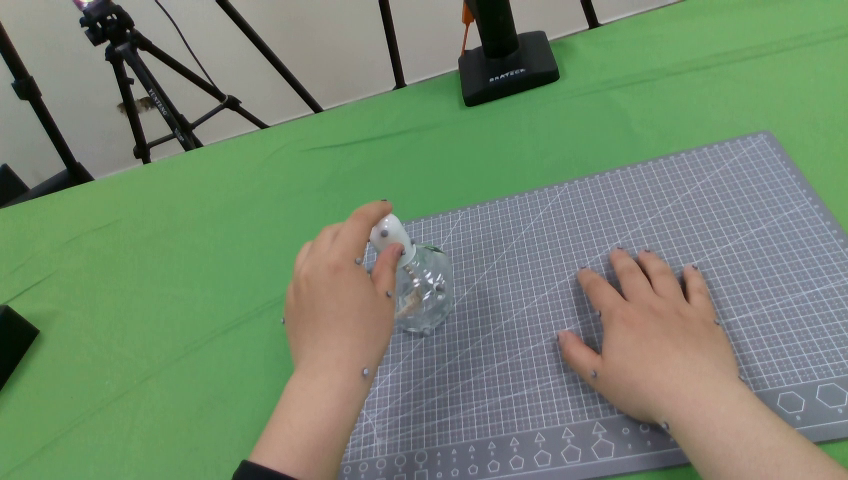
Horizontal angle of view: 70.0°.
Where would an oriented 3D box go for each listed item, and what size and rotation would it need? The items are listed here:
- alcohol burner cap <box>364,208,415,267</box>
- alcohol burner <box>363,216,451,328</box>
[{"bbox_3d":[-0.029,-0.005,0.480,0.034,0.048,0.033,-10,49,13],"label":"alcohol burner cap"},{"bbox_3d":[-0.019,0.019,0.504,0.078,0.120,0.077,-11,44,11],"label":"alcohol burner"}]
